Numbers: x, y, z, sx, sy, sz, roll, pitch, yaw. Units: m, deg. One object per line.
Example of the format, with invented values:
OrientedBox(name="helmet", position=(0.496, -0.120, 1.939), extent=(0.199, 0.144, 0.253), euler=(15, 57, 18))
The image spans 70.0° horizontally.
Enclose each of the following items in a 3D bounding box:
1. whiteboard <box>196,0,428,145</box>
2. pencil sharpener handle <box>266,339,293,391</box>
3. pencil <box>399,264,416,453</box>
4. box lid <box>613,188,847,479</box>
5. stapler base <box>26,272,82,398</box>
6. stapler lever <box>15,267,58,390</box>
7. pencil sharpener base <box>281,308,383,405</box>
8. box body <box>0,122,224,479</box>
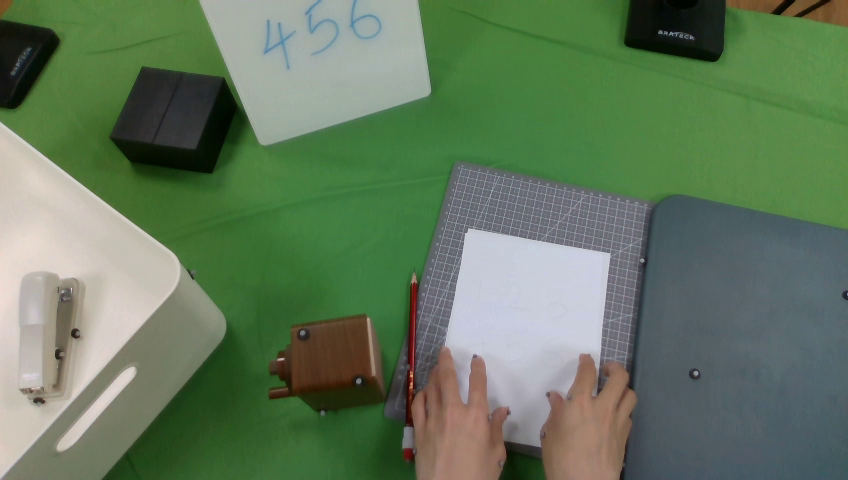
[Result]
OrientedBox(name="whiteboard", position=(-0.136, -0.295, 0.661), extent=(0.217, 0.308, 0.142), euler=(-19, 48, -7))
OrientedBox(name="pencil sharpener handle", position=(-0.133, 0.116, 0.542), extent=(0.030, 0.068, 0.035), euler=(-8, 50, -2))
OrientedBox(name="pencil", position=(-0.015, 0.113, 0.608), extent=(0.012, 0.012, 0.192), euler=(1, 66, 2))
OrientedBox(name="box lid", position=(0.336, 0.126, 0.599), extent=(0.263, 0.015, 0.369), euler=(13, 67, 5))
OrientedBox(name="stapler base", position=(-0.376, 0.091, 0.608), extent=(0.041, 0.024, 0.129), euler=(-7, 68, 0))
OrientedBox(name="stapler lever", position=(-0.375, 0.082, 0.584), extent=(0.027, 0.040, 0.117), euler=(-7, 69, 0))
OrientedBox(name="pencil sharpener base", position=(-0.082, 0.111, 0.558), extent=(0.077, 0.108, 0.061), euler=(-8, 66, -2))
OrientedBox(name="box body", position=(-0.403, 0.050, 0.557), extent=(0.362, 0.161, 0.253), euler=(33, 71, 14))
